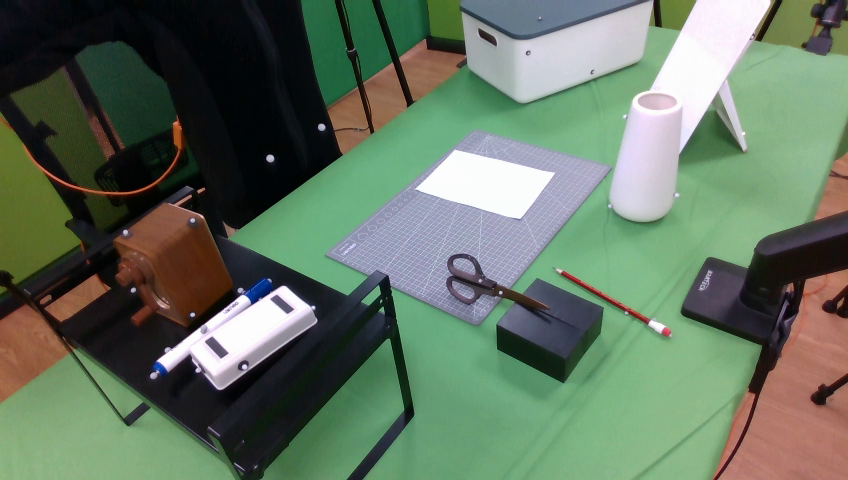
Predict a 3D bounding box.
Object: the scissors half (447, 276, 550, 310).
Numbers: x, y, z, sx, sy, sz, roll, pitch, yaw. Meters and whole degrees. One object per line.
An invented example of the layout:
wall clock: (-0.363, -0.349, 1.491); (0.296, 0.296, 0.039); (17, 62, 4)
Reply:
scissors half: (0.098, 0.077, 0.827); (0.174, 0.040, 0.013); (6, 14, 44)

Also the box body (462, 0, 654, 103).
box body: (0.298, -0.468, 1.374); (0.365, 0.161, 0.252); (-23, 42, -18)

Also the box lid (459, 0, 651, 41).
box lid: (0.291, -0.524, 1.327); (0.373, 0.015, 0.261); (-23, 43, -18)

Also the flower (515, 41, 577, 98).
flower: (0.298, -0.410, 1.413); (0.044, 0.038, 0.362); (-16, 22, 41)

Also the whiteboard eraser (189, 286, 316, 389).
whiteboard eraser: (-0.166, 0.096, 0.593); (0.113, 0.042, 0.055); (-36, 46, -29)

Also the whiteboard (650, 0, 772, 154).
whiteboard: (0.543, -0.298, 1.076); (0.144, 0.305, 0.216); (12, 40, -7)

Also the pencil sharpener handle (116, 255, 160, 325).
pencil sharpener handle: (-0.286, 0.050, 0.594); (0.035, 0.068, 0.031); (7, 41, 35)

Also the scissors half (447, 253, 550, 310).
scissors half: (0.098, 0.058, 0.821); (0.173, 0.040, 0.013); (27, 33, 37)

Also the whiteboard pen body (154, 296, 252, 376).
whiteboard pen body: (-0.214, 0.088, 0.619); (0.017, 0.017, 0.141); (19, 42, 28)

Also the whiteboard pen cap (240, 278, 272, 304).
whiteboard pen cap: (-0.183, 0.057, 0.658); (0.018, 0.018, 0.033); (19, 44, 28)

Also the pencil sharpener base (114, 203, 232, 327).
pencil sharpener base: (-0.262, 0.029, 0.635); (0.061, 0.107, 0.077); (18, 47, 26)

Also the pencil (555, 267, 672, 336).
pencil: (0.260, 0.082, 0.850); (0.012, 0.012, 0.192); (-33, 46, -27)

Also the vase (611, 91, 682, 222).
vase: (0.348, -0.125, 0.935); (0.098, 0.201, 0.097); (-3, 40, 3)
